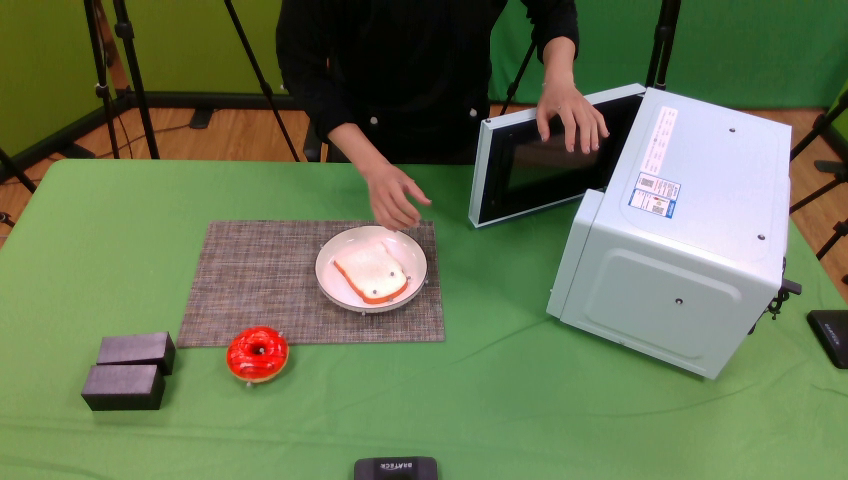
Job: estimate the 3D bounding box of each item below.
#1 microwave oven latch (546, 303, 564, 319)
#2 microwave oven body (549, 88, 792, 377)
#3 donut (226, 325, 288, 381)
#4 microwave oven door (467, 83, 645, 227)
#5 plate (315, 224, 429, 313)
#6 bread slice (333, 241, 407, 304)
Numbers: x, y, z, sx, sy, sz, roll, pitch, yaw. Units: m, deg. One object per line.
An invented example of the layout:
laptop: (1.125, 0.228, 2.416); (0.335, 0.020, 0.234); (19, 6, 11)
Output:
microwave oven latch: (0.242, 0.102, 1.081); (0.030, 0.029, 0.079); (22, 48, 17)
microwave oven body: (0.456, -0.028, 1.088); (0.325, 0.261, 0.440); (20, 47, 16)
donut: (-0.270, 0.182, 0.984); (0.099, 0.048, 0.098); (5, 49, -5)
microwave oven door: (0.261, -0.169, 1.203); (0.356, 0.245, 0.039); (-17, 50, -19)
plate: (-0.096, 0.055, 1.121); (0.208, 0.039, 0.206); (2, 46, -2)
bread slice: (-0.092, 0.060, 1.117); (0.105, 0.019, 0.130); (-24, 52, -24)
